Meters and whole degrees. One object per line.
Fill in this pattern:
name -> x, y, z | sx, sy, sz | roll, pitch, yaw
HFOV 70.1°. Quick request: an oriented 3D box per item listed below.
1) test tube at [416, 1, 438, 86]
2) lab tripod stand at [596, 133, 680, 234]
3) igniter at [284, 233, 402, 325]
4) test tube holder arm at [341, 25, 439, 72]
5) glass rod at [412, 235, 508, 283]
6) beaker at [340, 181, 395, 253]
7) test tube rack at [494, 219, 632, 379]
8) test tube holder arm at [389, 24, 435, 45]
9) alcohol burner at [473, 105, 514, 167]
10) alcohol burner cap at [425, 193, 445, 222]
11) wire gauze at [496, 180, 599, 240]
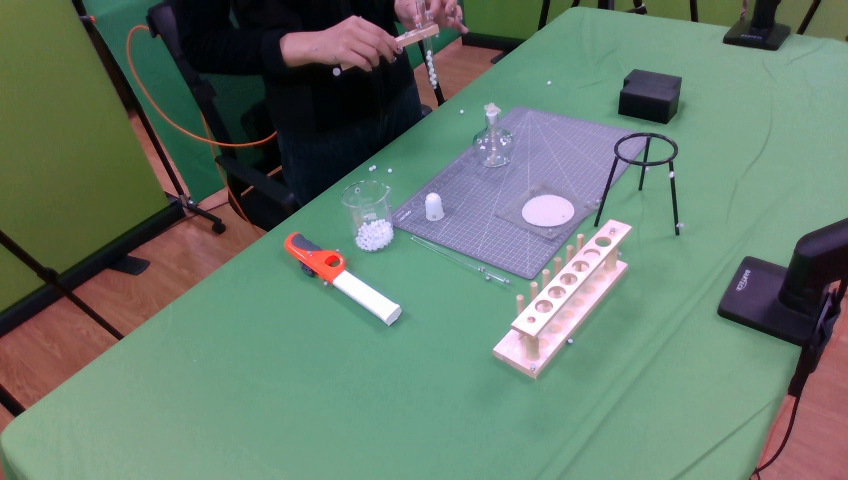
test tube -> 0.006, -0.338, 1.050 | 0.017, 0.151, 0.017 | -7, 39, 6
lab tripod stand -> 0.338, -0.091, 0.940 | 0.148, 0.132, 0.147 | -7, 39, 6
igniter -> -0.136, 0.054, 0.942 | 0.274, 0.025, 0.057 | 30, 63, 37
test tube holder arm -> -0.057, -0.324, 1.024 | 0.179, 0.015, 0.013 | -25, 34, -8
glass rod -> 0.051, 0.028, 0.951 | 0.198, 0.008, 0.008 | 25, 51, 37
beaker -> -0.087, -0.037, 0.985 | 0.084, 0.101, 0.073 | -18, 41, -11
test tube rack -> 0.191, 0.068, 0.818 | 0.066, 0.085, 0.243 | 25, 51, 35
test tube holder arm -> -0.019, -0.347, 1.036 | 0.088, 0.015, 0.010 | -29, 35, -13
alcohol burner -> 0.128, -0.196, 1.116 | 0.078, 0.119, 0.077 | -4, 40, 4
alcohol burner cap -> 0.017, -0.058, 1.029 | 0.034, 0.048, 0.033 | -6, 40, 5
wire gauze -> 0.206, -0.050, 1.012 | 0.125, 0.011, 0.120 | -34, 45, -26
